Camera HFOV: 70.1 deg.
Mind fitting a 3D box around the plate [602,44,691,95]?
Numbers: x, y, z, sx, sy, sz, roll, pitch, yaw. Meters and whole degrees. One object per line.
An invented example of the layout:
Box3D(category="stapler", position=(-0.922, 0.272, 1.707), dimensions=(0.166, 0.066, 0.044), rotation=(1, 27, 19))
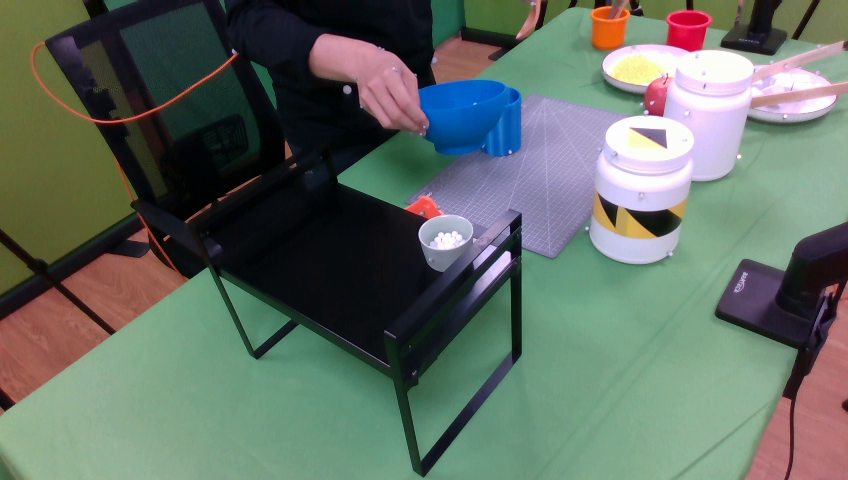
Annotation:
Box3D(category="plate", position=(0.495, -0.367, 1.317), dimensions=(0.209, 0.038, 0.208), rotation=(-4, 40, 4))

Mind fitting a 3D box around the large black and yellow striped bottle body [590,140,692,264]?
Box3D(category="large black and yellow striped bottle body", position=(0.317, -0.071, 0.889), dimensions=(0.131, 0.185, 0.130), rotation=(-4, 41, 4))

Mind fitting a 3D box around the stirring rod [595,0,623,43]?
Box3D(category="stirring rod", position=(0.460, -0.556, 1.460), dimensions=(0.014, 0.006, 0.176), rotation=(30, 93, 23))

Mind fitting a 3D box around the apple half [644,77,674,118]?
Box3D(category="apple half", position=(0.463, -0.279, 1.194), dimensions=(0.053, 0.075, 0.081), rotation=(8, 46, 25))

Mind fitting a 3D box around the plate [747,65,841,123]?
Box3D(category="plate", position=(0.695, -0.283, 1.189), dimensions=(0.207, 0.039, 0.206), rotation=(-4, 40, 4))

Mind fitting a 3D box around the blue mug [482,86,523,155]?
Box3D(category="blue mug", position=(0.135, -0.235, 1.163), dimensions=(0.082, 0.106, 0.115), rotation=(-36, 48, -28))

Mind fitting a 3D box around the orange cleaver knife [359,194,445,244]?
Box3D(category="orange cleaver knife", position=(-0.032, -0.027, 0.965), dimensions=(0.210, 0.077, 0.012), rotation=(-9, 29, 51))

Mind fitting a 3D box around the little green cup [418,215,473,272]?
Box3D(category="little green cup", position=(0.026, 0.005, 0.678), dimensions=(0.061, 0.039, 0.061), rotation=(-4, 40, 4))

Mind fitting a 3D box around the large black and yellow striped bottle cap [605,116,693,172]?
Box3D(category="large black and yellow striped bottle cap", position=(0.309, -0.134, 0.833), dimensions=(0.115, 0.019, 0.114), rotation=(-5, 40, 5))

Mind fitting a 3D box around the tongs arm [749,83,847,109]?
Box3D(category="tongs arm", position=(0.734, -0.280, 1.133), dimensions=(0.388, 0.028, 0.028), rotation=(-9, 47, -5))

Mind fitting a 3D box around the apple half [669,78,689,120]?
Box3D(category="apple half", position=(0.498, -0.273, 1.180), dimensions=(0.032, 0.082, 0.081), rotation=(7, 42, 25))

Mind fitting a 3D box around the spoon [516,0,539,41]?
Box3D(category="spoon", position=(0.187, -0.408, 0.954), dimensions=(0.022, 0.193, 0.041), rotation=(16, 12, -13))

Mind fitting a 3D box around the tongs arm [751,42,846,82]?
Box3D(category="tongs arm", position=(0.708, -0.331, 1.193), dimensions=(0.386, 0.026, 0.050), rotation=(-18, 45, -16))

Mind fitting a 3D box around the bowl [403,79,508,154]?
Box3D(category="bowl", position=(0.049, -0.174, 0.872), dimensions=(0.151, 0.077, 0.151), rotation=(-7, 28, 4))

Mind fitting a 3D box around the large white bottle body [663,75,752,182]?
Box3D(category="large white bottle body", position=(0.472, -0.207, 1.022), dimensions=(0.130, 0.185, 0.130), rotation=(-4, 41, 4))

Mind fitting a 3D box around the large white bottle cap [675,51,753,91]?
Box3D(category="large white bottle cap", position=(0.463, -0.271, 0.967), dimensions=(0.115, 0.018, 0.114), rotation=(-4, 40, 3))

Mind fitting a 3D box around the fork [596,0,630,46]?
Box3D(category="fork", position=(0.481, -0.556, 1.452), dimensions=(0.028, 0.019, 0.207), rotation=(40, 103, 40))
